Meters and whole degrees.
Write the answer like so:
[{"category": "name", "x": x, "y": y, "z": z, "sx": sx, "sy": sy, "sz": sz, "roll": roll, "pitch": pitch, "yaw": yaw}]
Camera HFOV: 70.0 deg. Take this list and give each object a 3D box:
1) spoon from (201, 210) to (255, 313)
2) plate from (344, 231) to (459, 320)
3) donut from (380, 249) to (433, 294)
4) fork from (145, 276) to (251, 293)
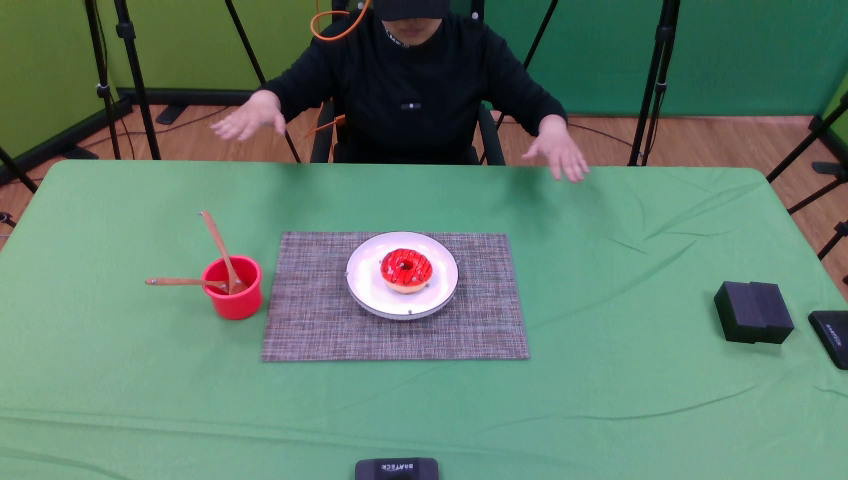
[{"category": "spoon", "x": -0.343, "y": 0.037, "z": 1.052, "sx": 0.041, "sy": 0.021, "sz": 0.194, "roll": -23, "pitch": 96, "yaw": -32}, {"category": "plate", "x": -0.042, "y": 0.067, "z": 1.115, "sx": 0.209, "sy": 0.038, "sz": 0.208, "roll": 2, "pitch": 46, "yaw": -2}, {"category": "donut", "x": -0.032, "y": 0.056, "z": 1.111, "sx": 0.099, "sy": 0.048, "sz": 0.098, "roll": 4, "pitch": 43, "yaw": -3}, {"category": "fork", "x": -0.368, "y": 0.073, "z": 1.006, "sx": 0.018, "sy": 0.208, "sz": 0.028, "roll": -24, "pitch": 72, "yaw": 23}]
